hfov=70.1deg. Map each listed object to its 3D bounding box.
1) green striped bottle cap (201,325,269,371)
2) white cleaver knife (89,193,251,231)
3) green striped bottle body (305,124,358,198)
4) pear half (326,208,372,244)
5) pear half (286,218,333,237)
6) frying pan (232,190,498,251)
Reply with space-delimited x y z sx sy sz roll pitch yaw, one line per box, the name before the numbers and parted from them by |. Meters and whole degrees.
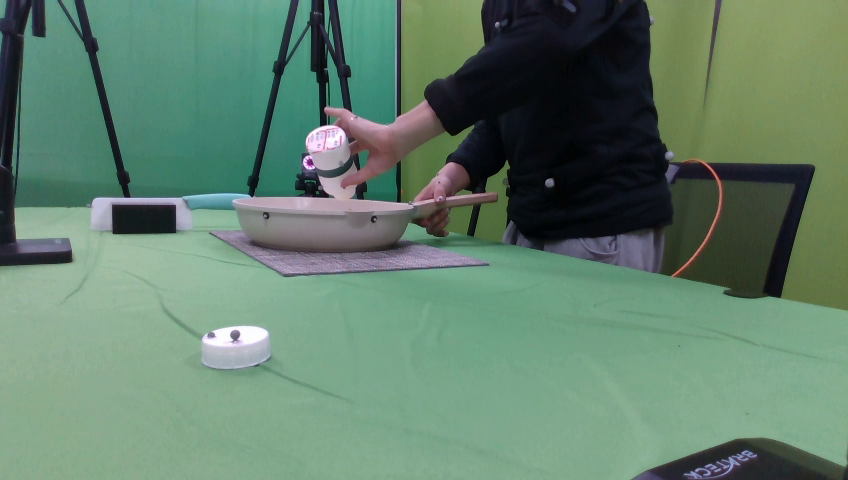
green striped bottle cap | -0.129 0.073 0.415 0.044 0.020 0.044 2 8 0
white cleaver knife | -0.454 -0.052 1.114 0.288 0.066 0.021 -4 15 -27
green striped bottle body | -0.144 -0.121 0.966 0.063 0.119 0.063 -5 51 7
pear half | -0.128 -0.026 1.017 0.076 0.056 0.109 6 5 -18
pear half | -0.197 -0.022 1.054 0.088 0.031 0.070 -10 18 -44
frying pan | -0.073 -0.051 1.048 0.490 0.102 0.305 -11 13 -27
